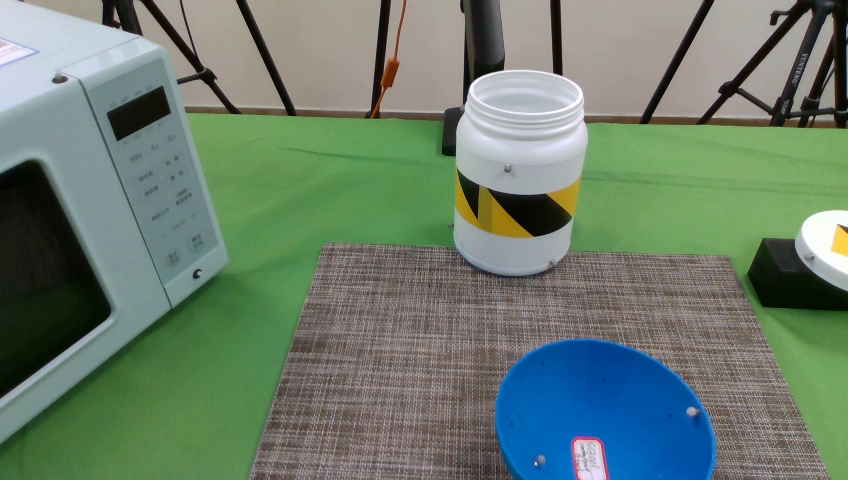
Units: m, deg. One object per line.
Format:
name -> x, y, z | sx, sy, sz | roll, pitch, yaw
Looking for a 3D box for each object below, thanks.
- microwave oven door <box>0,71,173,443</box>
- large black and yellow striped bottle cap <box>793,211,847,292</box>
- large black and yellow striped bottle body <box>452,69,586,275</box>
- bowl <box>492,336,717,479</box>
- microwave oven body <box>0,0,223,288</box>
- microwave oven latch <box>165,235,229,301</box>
microwave oven door -> -0.351, 0.067, 0.403 | 0.039, 0.246, 0.355 | 21, 44, 24
large black and yellow striped bottle cap -> 0.424, 0.012, 0.588 | 0.115, 0.019, 0.114 | -1, 39, 1
large black and yellow striped bottle body -> 0.096, -0.070, 0.631 | 0.131, 0.185, 0.129 | 0, 37, 0
bowl -> 0.123, 0.153, 0.446 | 0.151, 0.077, 0.150 | 0, 40, 1
microwave oven body -> -0.453, 0.000, 0.491 | 0.324, 0.262, 0.440 | 22, 45, 23
microwave oven latch -> -0.233, 0.025, 0.611 | 0.030, 0.030, 0.079 | 23, 46, 24
